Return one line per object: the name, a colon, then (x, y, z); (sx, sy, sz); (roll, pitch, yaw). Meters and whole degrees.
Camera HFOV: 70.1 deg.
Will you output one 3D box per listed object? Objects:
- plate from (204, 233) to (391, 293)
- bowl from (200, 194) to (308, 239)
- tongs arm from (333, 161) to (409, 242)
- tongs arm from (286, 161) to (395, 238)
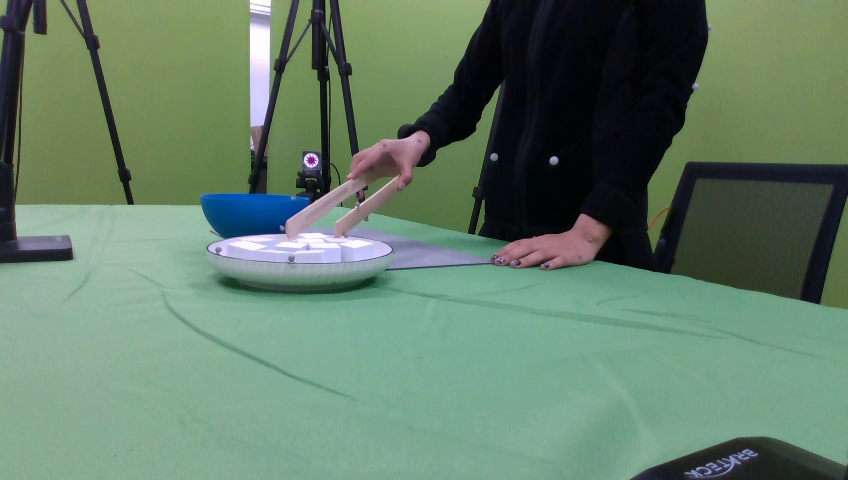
plate: (-0.143, 0.025, 0.697); (0.208, 0.039, 0.207); (3, 9, 0)
bowl: (-0.245, -0.025, 0.879); (0.151, 0.077, 0.151); (2, 7, 0)
tongs arm: (-0.080, -0.070, 0.924); (0.050, 0.026, 0.385); (4, 19, 15)
tongs arm: (-0.117, -0.073, 0.931); (0.028, 0.028, 0.388); (1, 18, 16)
